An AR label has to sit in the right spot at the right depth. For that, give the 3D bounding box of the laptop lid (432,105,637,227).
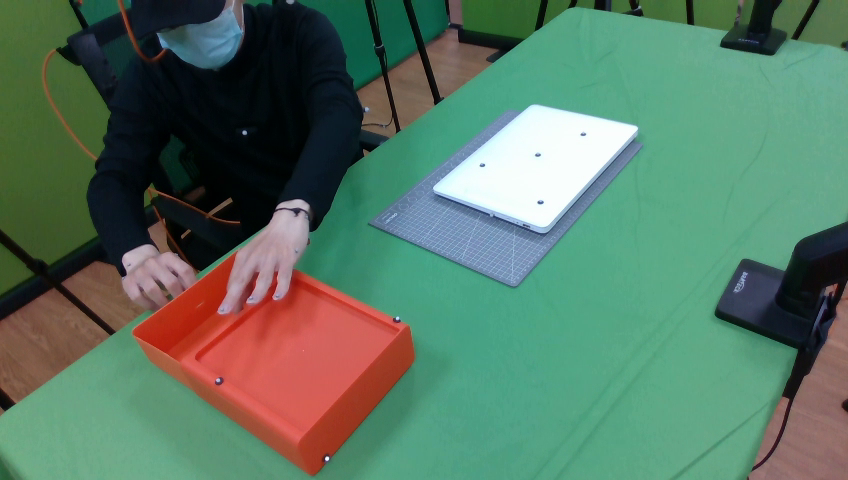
[{"bbox_3d":[0.207,-0.152,1.105,0.239,0.013,0.358,23,49,34],"label":"laptop lid"}]

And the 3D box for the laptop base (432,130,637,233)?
[{"bbox_3d":[0.210,-0.142,1.111,0.233,0.023,0.355,21,48,34],"label":"laptop base"}]

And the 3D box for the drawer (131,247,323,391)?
[{"bbox_3d":[-0.245,0.121,0.822,0.210,0.073,0.195,21,47,29],"label":"drawer"}]

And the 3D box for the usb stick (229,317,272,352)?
[{"bbox_3d":[-0.242,0.132,0.834,0.059,0.027,0.021,-28,44,-24],"label":"usb stick"}]

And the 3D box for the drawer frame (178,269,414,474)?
[{"bbox_3d":[-0.157,0.152,0.769,0.212,0.083,0.202,22,47,29],"label":"drawer frame"}]
